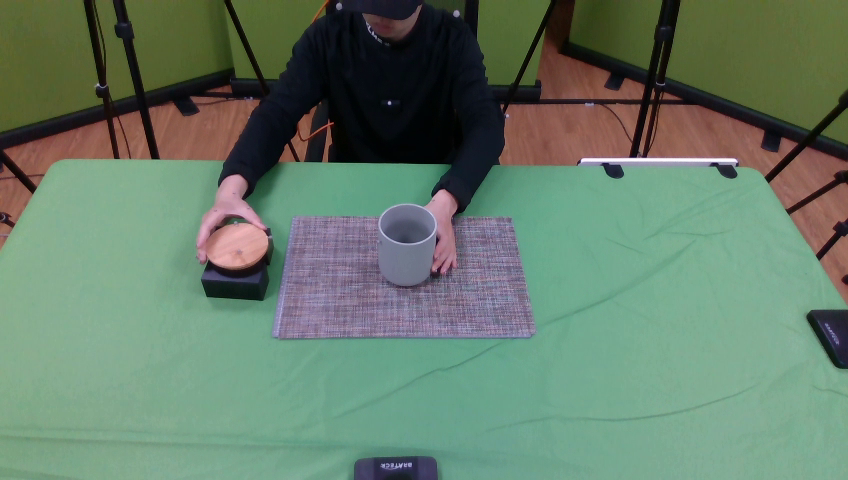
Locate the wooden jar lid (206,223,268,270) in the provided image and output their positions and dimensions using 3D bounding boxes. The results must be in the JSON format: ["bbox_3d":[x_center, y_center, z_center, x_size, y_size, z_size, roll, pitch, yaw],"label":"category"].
[{"bbox_3d":[-0.336,0.013,1.093,0.108,0.021,0.107,2,45,-2],"label":"wooden jar lid"}]

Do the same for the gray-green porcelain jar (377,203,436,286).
[{"bbox_3d":[-0.033,0.014,1.106,0.106,0.127,0.105,2,46,-2],"label":"gray-green porcelain jar"}]
